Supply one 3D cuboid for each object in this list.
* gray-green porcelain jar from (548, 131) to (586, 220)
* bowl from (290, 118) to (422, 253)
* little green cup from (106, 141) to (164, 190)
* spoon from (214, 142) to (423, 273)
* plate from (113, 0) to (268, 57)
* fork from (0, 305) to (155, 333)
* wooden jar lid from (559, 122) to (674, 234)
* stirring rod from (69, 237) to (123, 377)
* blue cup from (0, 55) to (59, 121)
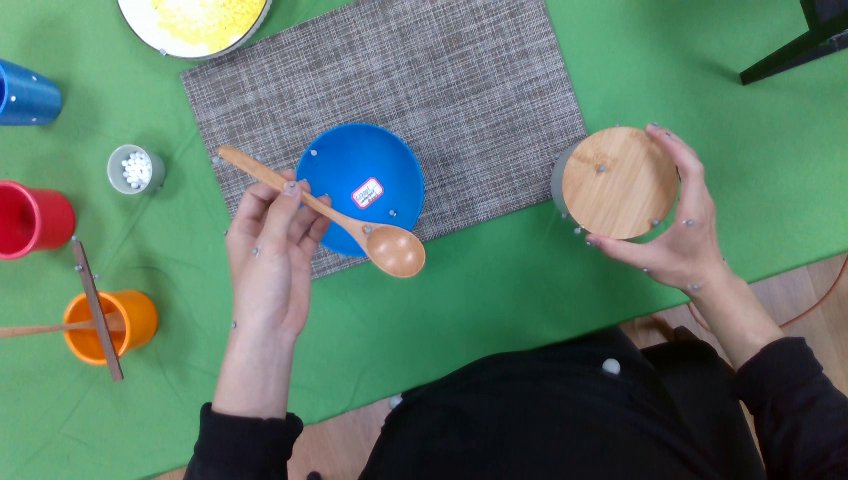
[{"bbox_3d":[0.191,-0.067,0.651,0.106,0.126,0.106,1,97,5],"label":"gray-green porcelain jar"},{"bbox_3d":[-0.072,-0.063,0.708,0.151,0.077,0.151,1,95,8],"label":"bowl"},{"bbox_3d":[-0.364,-0.093,0.768,0.061,0.038,0.061,1,95,8],"label":"little green cup"},{"bbox_3d":[-0.087,-0.030,0.509,0.194,0.021,0.041,31,97,-13],"label":"spoon"},{"bbox_3d":[-0.280,-0.327,0.738,0.209,0.038,0.209,1,95,7],"label":"plate"},{"bbox_3d":[-0.441,0.100,0.738,0.208,0.018,0.028,-2,98,-35],"label":"fork"},{"bbox_3d":[0.185,-0.060,0.590,0.108,0.020,0.108,0,96,5],"label":"wooden jar lid"},{"bbox_3d":[-0.394,0.080,0.727,0.014,0.006,0.176,-17,92,7],"label":"stirring rod"},{"bbox_3d":[-0.515,-0.185,0.748,0.092,0.100,0.093,1,95,9],"label":"blue cup"}]
